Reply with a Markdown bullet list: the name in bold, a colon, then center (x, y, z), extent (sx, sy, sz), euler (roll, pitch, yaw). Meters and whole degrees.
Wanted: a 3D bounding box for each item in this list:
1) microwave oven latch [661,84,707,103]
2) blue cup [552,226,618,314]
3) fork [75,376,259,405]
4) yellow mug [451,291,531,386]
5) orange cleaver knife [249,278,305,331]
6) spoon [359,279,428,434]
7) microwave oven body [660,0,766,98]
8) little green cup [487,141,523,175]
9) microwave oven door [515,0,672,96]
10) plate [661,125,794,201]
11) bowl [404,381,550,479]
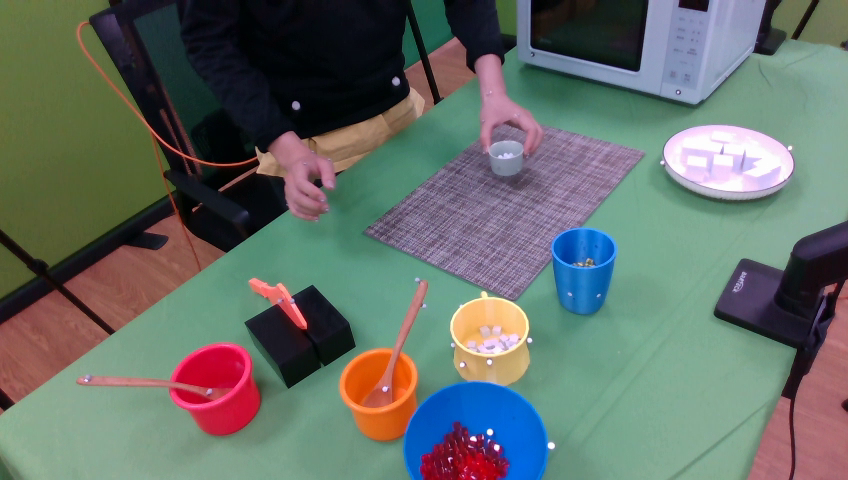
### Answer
- **microwave oven latch**: center (0.517, -0.296, 1.204), extent (0.078, 0.029, 0.030), euler (27, 52, 35)
- **blue cup**: center (0.218, 0.047, 0.825), extent (0.092, 0.100, 0.092), euler (-6, 40, 5)
- **fork**: center (-0.295, 0.176, 0.716), extent (0.209, 0.018, 0.028), euler (19, 27, -36)
- **yellow mug**: center (0.085, 0.120, 0.786), extent (0.100, 0.064, 0.130), euler (-7, 39, 1)
- **orange cleaver knife**: center (-0.210, 0.088, 0.856), extent (0.012, 0.077, 0.210), euler (-28, 15, -25)
- **spoon**: center (-0.032, 0.138, 0.719), extent (0.041, 0.193, 0.022), euler (22, 4, 30)
- **microwave oven body**: center (0.472, -0.513, 1.317), extent (0.438, 0.261, 0.327), euler (26, 51, 34)
- **little green cup**: center (0.140, -0.141, 1.045), extent (0.061, 0.039, 0.061), euler (-3, 35, 3)
- **microwave oven door**: center (0.344, -0.455, 1.260), extent (0.353, 0.245, 0.039), euler (26, 51, 33)
- **plate**: center (0.513, -0.128, 1.035), extent (0.207, 0.039, 0.206), euler (-4, 40, 4)
- **bowl**: center (0.058, 0.235, 0.645), extent (0.151, 0.077, 0.150), euler (-4, 39, 4)
